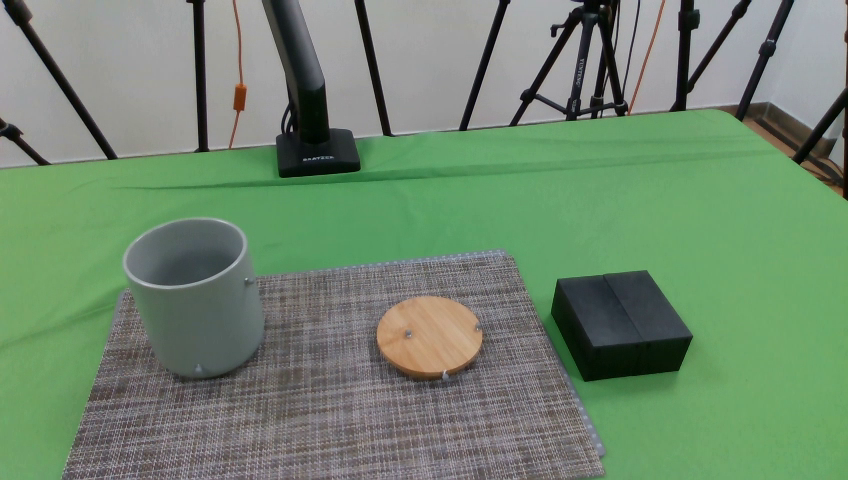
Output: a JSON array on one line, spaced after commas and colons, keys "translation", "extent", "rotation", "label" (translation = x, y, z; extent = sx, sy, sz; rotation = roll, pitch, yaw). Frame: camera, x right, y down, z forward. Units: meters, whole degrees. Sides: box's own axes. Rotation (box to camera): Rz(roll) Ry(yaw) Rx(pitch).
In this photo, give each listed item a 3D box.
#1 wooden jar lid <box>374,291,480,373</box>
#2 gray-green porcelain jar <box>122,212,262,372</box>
[{"translation": [0.003, 0.095, 0.622], "extent": [0.108, 0.021, 0.107], "rotation": [2, 38, -1], "label": "wooden jar lid"}, {"translation": [-0.214, 0.054, 0.578], "extent": [0.106, 0.127, 0.105], "rotation": [1, 38, 0], "label": "gray-green porcelain jar"}]
